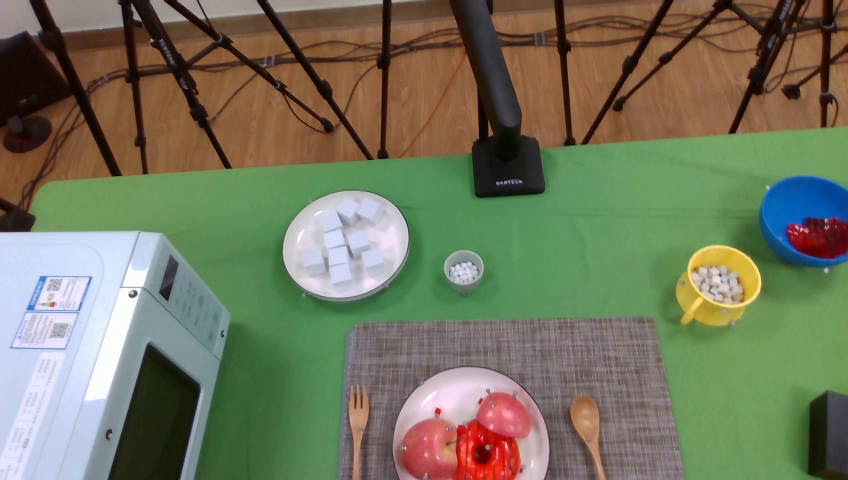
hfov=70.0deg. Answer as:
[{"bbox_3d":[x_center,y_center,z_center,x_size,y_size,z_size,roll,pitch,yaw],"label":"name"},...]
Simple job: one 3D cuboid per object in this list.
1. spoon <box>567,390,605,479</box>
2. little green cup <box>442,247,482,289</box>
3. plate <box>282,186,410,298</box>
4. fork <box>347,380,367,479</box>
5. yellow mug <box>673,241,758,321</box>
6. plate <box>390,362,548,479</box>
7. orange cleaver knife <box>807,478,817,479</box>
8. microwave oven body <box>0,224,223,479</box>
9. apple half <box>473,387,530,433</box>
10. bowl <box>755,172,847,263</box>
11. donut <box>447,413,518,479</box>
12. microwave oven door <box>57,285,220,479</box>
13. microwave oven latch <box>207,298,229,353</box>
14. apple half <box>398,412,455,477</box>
[{"bbox_3d":[0.221,0.291,0.786,0.042,0.022,0.192,4,56,-19],"label":"spoon"},{"bbox_3d":[0.060,0.046,0.944,0.061,0.039,0.061,-2,59,4],"label":"little green cup"},{"bbox_3d":[-0.124,0.005,0.986,0.207,0.039,0.205,-2,59,4],"label":"plate"},{"bbox_3d":[-0.092,0.291,0.817,0.028,0.019,0.205,-1,57,-2],"label":"fork"},{"bbox_3d":[0.412,0.070,0.880,0.131,0.064,0.099,-40,64,-16],"label":"yellow mug"},{"bbox_3d":[0.059,0.266,0.807,0.209,0.038,0.207,-2,59,4],"label":"plate"},{"bbox_3d":[0.496,0.389,0.708,0.077,0.012,0.209,-13,57,-9],"label":"orange cleaver knife"},{"bbox_3d":[-0.479,0.229,0.748,0.326,0.262,0.438,0,60,5],"label":"microwave oven body"},{"bbox_3d":[0.108,0.218,0.801,0.081,0.033,0.081,13,22,-5],"label":"apple half"},{"bbox_3d":[0.569,-0.020,0.913,0.151,0.077,0.150,-3,60,5],"label":"bowl"},{"bbox_3d":[0.072,0.274,0.788,0.099,0.048,0.098,-2,62,5],"label":"donut"},{"bbox_3d":[-0.336,0.262,0.709,0.039,0.246,0.352,-1,59,5],"label":"microwave oven door"},{"bbox_3d":[-0.315,0.127,0.907,0.030,0.030,0.078,1,60,6],"label":"microwave oven latch"},{"bbox_3d":[-0.001,0.260,0.780,0.074,0.054,0.080,-25,48,39],"label":"apple half"}]
